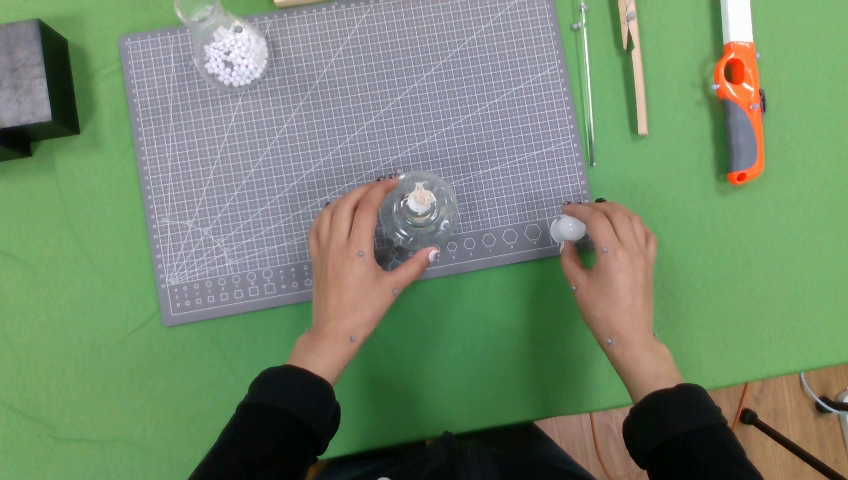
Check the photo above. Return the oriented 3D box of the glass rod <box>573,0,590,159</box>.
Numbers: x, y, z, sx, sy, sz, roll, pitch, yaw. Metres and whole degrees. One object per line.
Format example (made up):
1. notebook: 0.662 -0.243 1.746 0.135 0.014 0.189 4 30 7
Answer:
1. glass rod: 0.166 -0.184 0.639 0.008 0.008 0.199 -4 90 -3

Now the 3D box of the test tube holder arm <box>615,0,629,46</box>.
1. test tube holder arm: 0.208 -0.251 0.641 0.010 0.015 0.087 -9 88 34

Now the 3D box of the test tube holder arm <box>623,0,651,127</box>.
1. test tube holder arm: 0.220 -0.207 0.636 0.013 0.015 0.178 -11 87 33

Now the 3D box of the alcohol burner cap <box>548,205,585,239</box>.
1. alcohol burner cap: 0.146 -0.020 0.610 0.034 0.048 0.034 0 84 -1

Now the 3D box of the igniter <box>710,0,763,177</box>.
1. igniter: 0.327 -0.204 0.638 0.057 0.025 0.276 -2 87 -13

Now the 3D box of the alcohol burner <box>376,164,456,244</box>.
1. alcohol burner: -0.008 -0.036 0.568 0.078 0.119 0.078 0 86 0

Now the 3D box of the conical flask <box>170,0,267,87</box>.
1. conical flask: -0.194 -0.196 0.561 0.075 0.122 0.075 0 87 -3

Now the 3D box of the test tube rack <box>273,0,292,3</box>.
1. test tube rack: -0.042 -0.304 0.596 0.242 0.085 0.066 -11 87 -3
